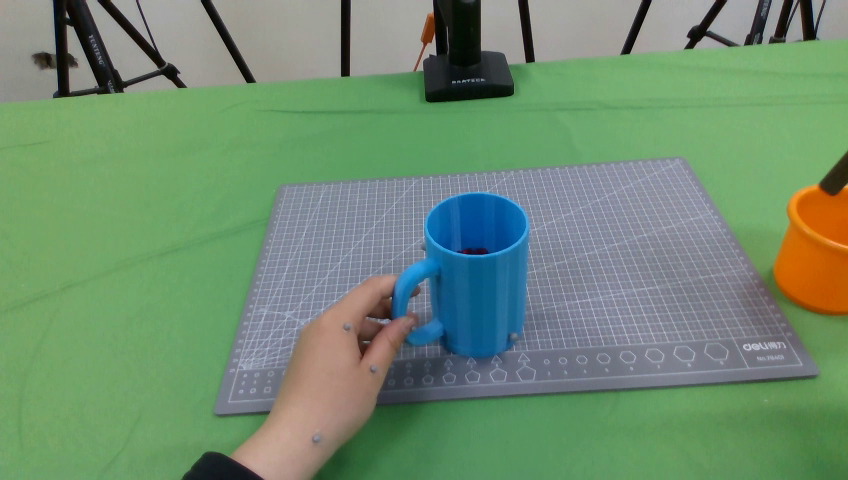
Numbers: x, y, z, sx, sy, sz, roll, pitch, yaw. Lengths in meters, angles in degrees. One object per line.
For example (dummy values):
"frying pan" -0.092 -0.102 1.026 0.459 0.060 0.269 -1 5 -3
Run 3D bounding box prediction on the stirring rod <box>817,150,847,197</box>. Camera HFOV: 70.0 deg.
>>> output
"stirring rod" 0.284 -0.089 0.343 0.014 0.177 0.006 41 54 22

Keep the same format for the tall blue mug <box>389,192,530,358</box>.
"tall blue mug" 0.032 0.037 0.459 0.077 0.109 0.107 18 46 24
